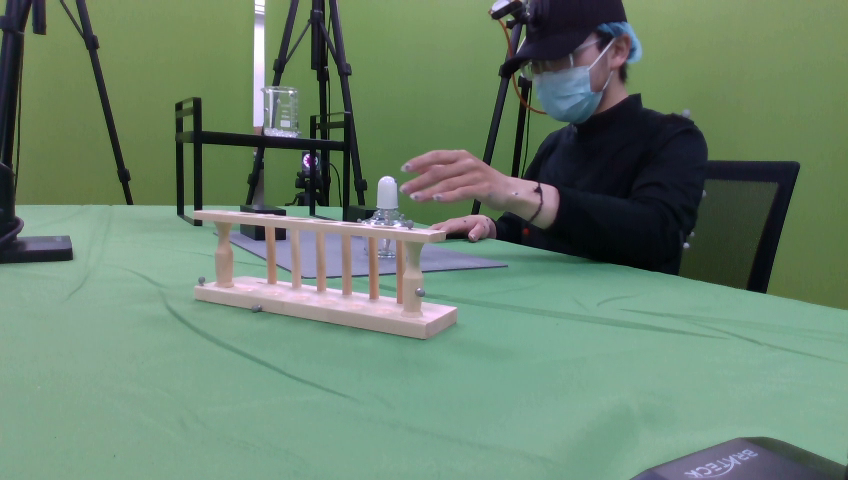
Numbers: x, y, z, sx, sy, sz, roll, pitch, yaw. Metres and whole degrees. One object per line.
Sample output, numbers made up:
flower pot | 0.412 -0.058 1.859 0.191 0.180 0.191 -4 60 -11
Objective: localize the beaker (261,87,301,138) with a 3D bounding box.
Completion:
beaker | -0.298 -0.263 1.255 0.084 0.100 0.073 -5 10 -40

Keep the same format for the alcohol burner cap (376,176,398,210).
alcohol burner cap | -0.053 -0.069 0.867 0.034 0.048 0.034 1 13 0

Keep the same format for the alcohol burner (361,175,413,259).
alcohol burner | -0.054 -0.033 0.871 0.078 0.119 0.078 1 9 0

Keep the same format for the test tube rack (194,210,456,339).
test tube rack | -0.093 0.023 0.545 0.241 0.085 0.067 6 8 25
